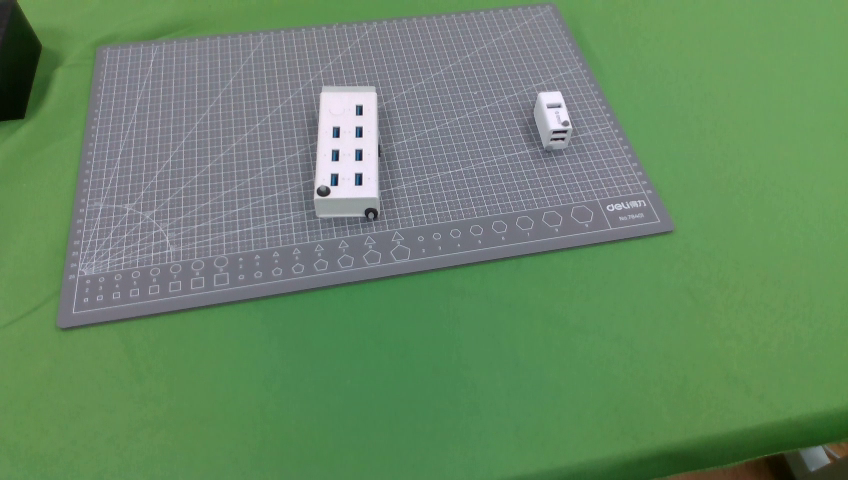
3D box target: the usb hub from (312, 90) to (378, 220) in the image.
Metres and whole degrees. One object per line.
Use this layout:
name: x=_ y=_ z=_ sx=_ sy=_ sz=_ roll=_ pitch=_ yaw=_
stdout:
usb hub: x=-0.063 y=-0.072 z=0.491 sx=0.049 sy=0.025 sz=0.124 roll=-1 pitch=55 yaw=-3

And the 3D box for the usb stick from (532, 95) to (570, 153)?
usb stick: x=0.107 y=-0.105 z=0.521 sx=0.021 sy=0.027 sz=0.058 roll=-5 pitch=53 yaw=-4
